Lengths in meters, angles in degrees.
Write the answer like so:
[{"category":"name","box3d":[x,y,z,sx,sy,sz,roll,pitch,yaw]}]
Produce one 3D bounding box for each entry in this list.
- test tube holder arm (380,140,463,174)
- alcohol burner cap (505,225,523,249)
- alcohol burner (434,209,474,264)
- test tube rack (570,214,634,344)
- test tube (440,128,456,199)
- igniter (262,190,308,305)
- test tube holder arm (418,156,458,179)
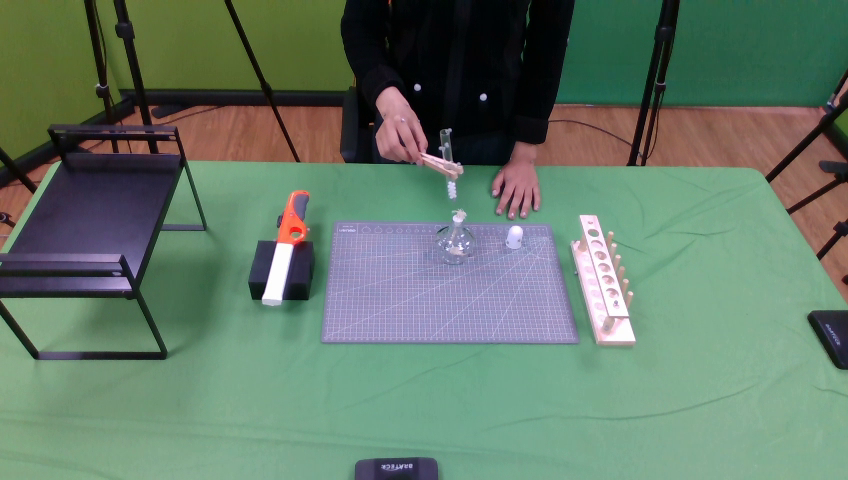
[{"category":"test tube holder arm","box3d":[-0.007,-0.149,1.073,0.177,0.015,0.013,24,57,30]},{"category":"alcohol burner cap","box3d":[0.180,-0.009,1.203,0.034,0.048,0.033,2,47,-2]},{"category":"alcohol burner","box3d":[0.058,-0.011,1.147,0.078,0.119,0.077,3,44,-3]},{"category":"test tube rack","box3d":[0.333,0.067,1.116,0.067,0.085,0.241,1,46,-4]},{"category":"test tube","box3d":[0.042,-0.126,1.033,0.017,0.151,0.017,-4,48,5]},{"category":"igniter","box3d":[-0.252,0.004,1.107,0.057,0.025,0.275,7,47,-6]},{"category":"test tube holder arm","box3d":[0.023,-0.128,1.048,0.087,0.015,0.010,32,62,34]}]
